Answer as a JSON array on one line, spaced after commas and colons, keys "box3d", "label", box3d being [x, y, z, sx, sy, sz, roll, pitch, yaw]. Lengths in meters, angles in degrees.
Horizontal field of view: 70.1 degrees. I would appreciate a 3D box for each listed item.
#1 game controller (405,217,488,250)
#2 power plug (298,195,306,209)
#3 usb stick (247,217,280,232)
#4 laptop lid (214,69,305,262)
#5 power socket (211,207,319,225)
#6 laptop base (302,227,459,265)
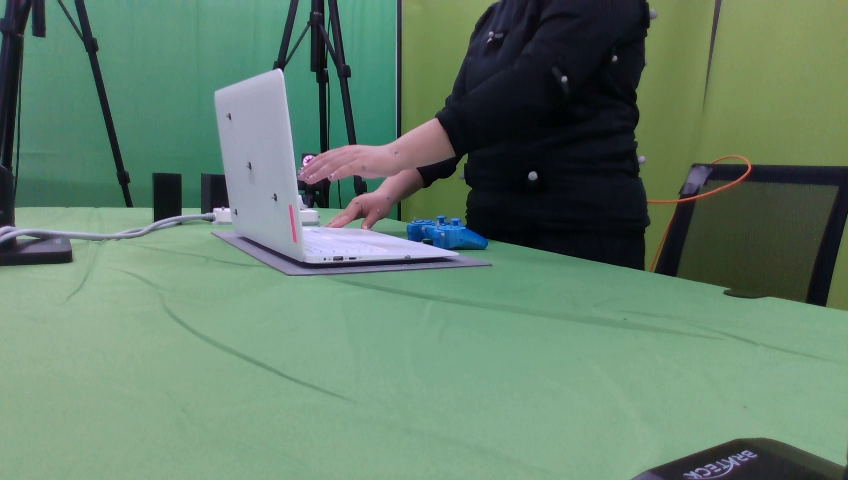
[{"box3d": [0.034, -0.013, 1.067, 0.097, 0.051, 0.154, -6, 10, -29], "label": "game controller"}, {"box3d": [-0.283, -0.075, 1.342, 0.035, 0.052, 0.072, 0, 3, -18], "label": "power plug"}, {"box3d": [-0.296, -0.028, 1.114, 0.059, 0.027, 0.021, -3, 10, -30], "label": "usb stick"}, {"box3d": [-0.246, -0.107, 0.866, 0.013, 0.241, 0.355, -11, 14, -30], "label": "laptop lid"}, {"box3d": [-0.334, -0.051, 1.281, 0.228, 0.032, 0.072, -1, 9, -29], "label": "power socket"}, {"box3d": [-0.136, 0.007, 0.951, 0.237, 0.023, 0.352, 2, 6, -32], "label": "laptop base"}]
